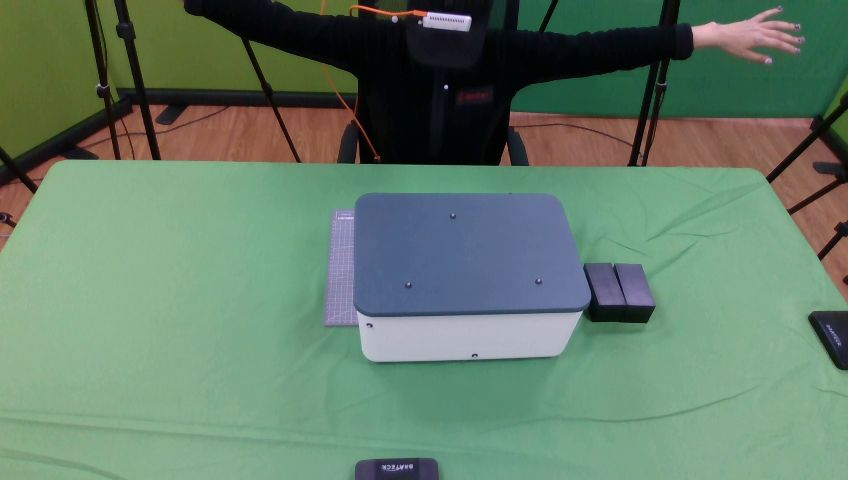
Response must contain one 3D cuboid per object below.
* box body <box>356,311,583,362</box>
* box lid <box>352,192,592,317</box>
[{"bbox_3d":[0.065,0.066,1.040,0.364,0.161,0.252,-1,46,-5],"label":"box body"},{"bbox_3d":[0.071,0.014,0.986,0.372,0.015,0.261,-1,47,-5],"label":"box lid"}]
